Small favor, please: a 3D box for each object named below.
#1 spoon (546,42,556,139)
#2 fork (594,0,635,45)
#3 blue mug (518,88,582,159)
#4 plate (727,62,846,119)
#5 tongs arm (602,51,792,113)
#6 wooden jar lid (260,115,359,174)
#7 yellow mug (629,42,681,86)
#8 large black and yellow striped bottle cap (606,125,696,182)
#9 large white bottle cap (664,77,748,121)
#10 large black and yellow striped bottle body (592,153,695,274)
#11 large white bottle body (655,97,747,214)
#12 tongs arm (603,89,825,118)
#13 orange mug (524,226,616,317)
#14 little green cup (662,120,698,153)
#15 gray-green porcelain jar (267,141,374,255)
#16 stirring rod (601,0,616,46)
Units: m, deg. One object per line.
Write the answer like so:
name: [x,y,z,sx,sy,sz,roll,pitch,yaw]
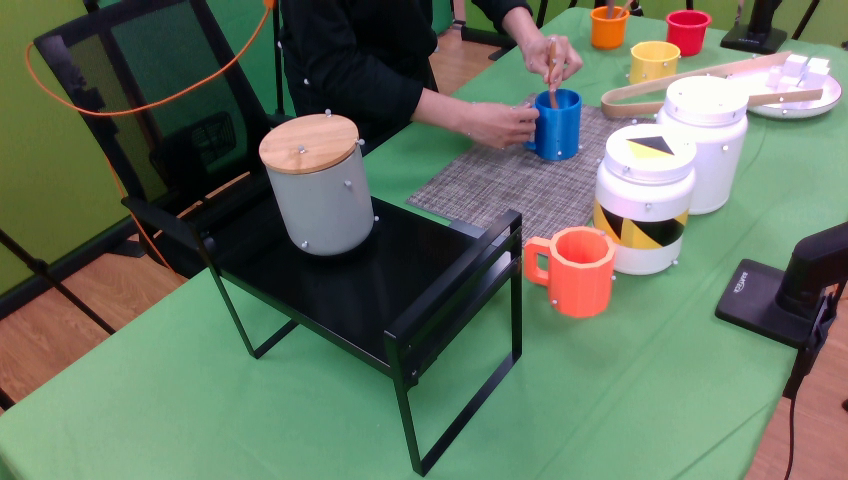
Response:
spoon: [0.223,-0.255,1.061,0.021,0.195,0.041,11,47,24]
fork: [0.484,-0.552,1.447,0.207,0.019,0.028,-51,47,17]
blue mug: [0.232,-0.213,1.121,0.116,0.106,0.082,-8,41,1]
plate: [0.709,-0.292,1.197,0.207,0.039,0.206,-4,40,4]
tongs arm: [0.552,-0.320,1.224,0.384,0.027,0.050,-10,43,7]
wooden jar lid: [-0.124,-0.101,0.662,0.108,0.021,0.108,-4,41,4]
yellow mug: [0.495,-0.389,1.321,0.100,0.064,0.130,-14,40,-6]
large black and yellow striped bottle cap: [0.305,-0.119,0.816,0.115,0.019,0.114,-5,41,5]
large white bottle cap: [0.421,-0.212,0.905,0.115,0.018,0.114,-4,40,4]
large black and yellow striped bottle body: [0.313,-0.056,0.872,0.131,0.185,0.130,-4,41,4]
large white bottle body: [0.431,-0.148,0.959,0.130,0.185,0.130,-4,41,4]
tongs arm: [0.546,-0.262,1.163,0.386,0.028,0.028,-1,49,18]
orange mug: [0.201,0.039,0.845,0.125,0.101,0.083,18,46,21]
little green cup: [0.470,-0.191,1.117,0.061,0.039,0.061,-5,40,5]
gray-green porcelain jar: [-0.117,-0.054,0.703,0.106,0.127,0.105,-4,40,4]
stirring rod: [0.452,-0.554,1.464,0.014,0.006,0.176,11,86,15]
